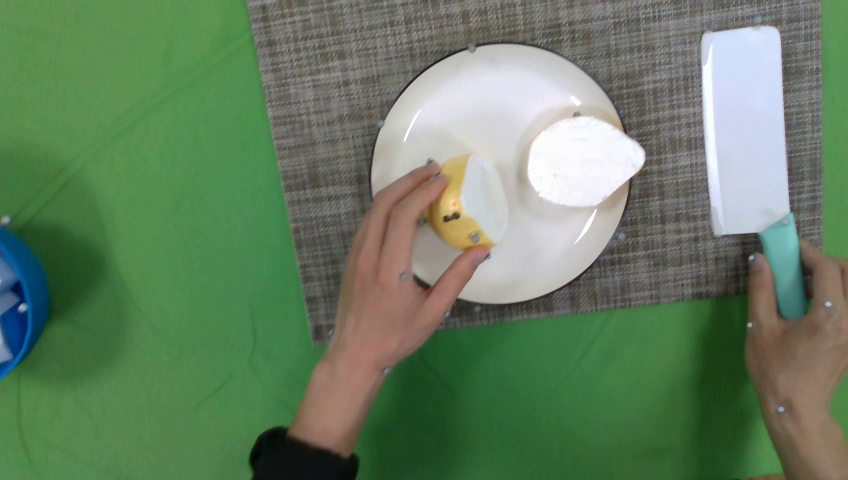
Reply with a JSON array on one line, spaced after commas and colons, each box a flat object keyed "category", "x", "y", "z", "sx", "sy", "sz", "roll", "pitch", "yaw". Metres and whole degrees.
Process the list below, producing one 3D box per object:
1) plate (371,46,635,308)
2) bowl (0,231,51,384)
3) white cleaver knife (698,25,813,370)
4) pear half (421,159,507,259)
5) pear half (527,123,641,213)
[{"category": "plate", "x": 0.062, "y": -0.048, "z": 0.495, "sx": 0.207, "sy": 0.039, "sz": 0.208, "roll": 0, "pitch": 102, "yaw": 3}, {"category": "bowl", "x": -0.381, "y": 0.048, "z": 0.517, "sx": 0.151, "sy": 0.076, "sz": 0.152, "roll": 0, "pitch": 102, "yaw": 2}, {"category": "white cleaver knife", "x": 0.273, "y": -0.028, "z": 0.499, "sx": 0.065, "sy": 0.021, "sz": 0.287, "roll": -2, "pitch": 103, "yaw": 48}, {"category": "pear half", "x": 0.023, "y": -0.018, "z": 0.458, "sx": 0.056, "sy": 0.110, "sz": 0.076, "roll": -22, "pitch": 90, "yaw": 21}, {"category": "pear half", "x": 0.128, "y": -0.058, "z": 0.485, "sx": 0.087, "sy": 0.031, "sz": 0.070, "roll": 0, "pitch": 101, "yaw": 20}]
